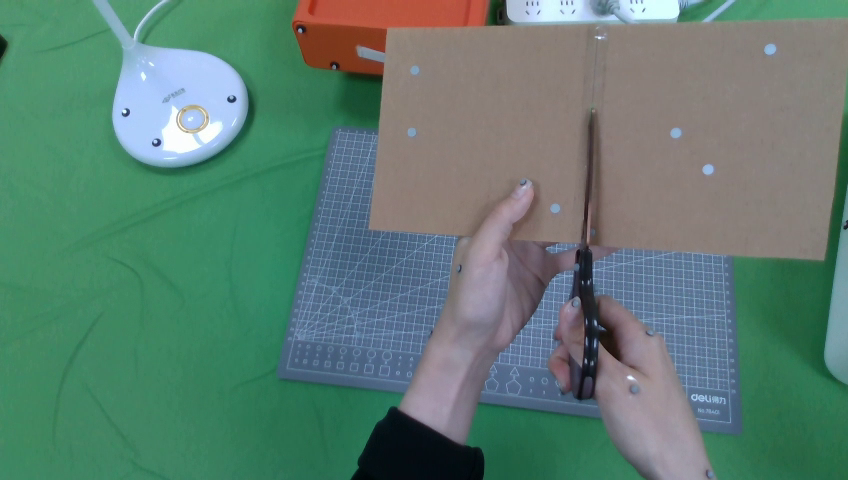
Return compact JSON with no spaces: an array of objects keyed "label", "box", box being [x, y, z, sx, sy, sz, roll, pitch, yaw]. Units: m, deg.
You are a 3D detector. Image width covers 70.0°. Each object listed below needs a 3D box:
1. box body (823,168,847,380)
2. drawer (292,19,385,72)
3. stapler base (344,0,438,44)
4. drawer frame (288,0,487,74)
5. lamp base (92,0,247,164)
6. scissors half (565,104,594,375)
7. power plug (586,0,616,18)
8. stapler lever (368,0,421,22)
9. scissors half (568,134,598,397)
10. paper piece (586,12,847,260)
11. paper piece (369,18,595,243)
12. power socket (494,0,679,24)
[{"label":"box body","box":[0.543,-0.014,0.550,0.253,0.161,0.362,18,69,10]},{"label":"drawer","box":[-0.026,-0.293,0.690,0.194,0.074,0.210,7,67,6]},{"label":"stapler base","box":[-0.044,-0.275,0.703,0.129,0.024,0.041,36,89,19]},{"label":"drawer frame","box":[-0.028,-0.295,0.691,0.201,0.083,0.212,6,67,6]},{"label":"lamp base","box":[-0.306,-0.198,0.657,0.178,0.181,0.160,38,73,20]},{"label":"scissors half","box":[0.100,0.004,0.384,0.013,0.040,0.176,3,107,9]},{"label":"power plug","box":[0.209,-0.275,0.721,0.035,0.053,0.072,10,68,7]},{"label":"stapler lever","box":[-0.052,-0.280,0.678,0.117,0.040,0.027,36,89,20]},{"label":"scissors half","box":[0.097,0.005,0.362,0.013,0.040,0.174,3,79,4]},{"label":"paper piece","box":[0.162,-0.061,0.351,0.135,0.004,0.136,6,96,18]},{"label":"paper piece","box":[0.035,-0.070,0.382,0.135,0.009,0.138,4,90,14]},{"label":"power socket","box":[0.201,-0.293,0.753,0.227,0.033,0.071,0,68,2]}]
